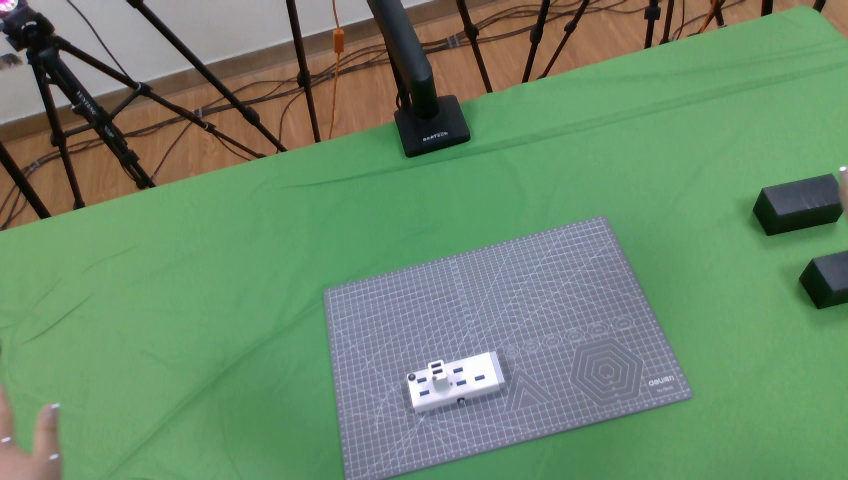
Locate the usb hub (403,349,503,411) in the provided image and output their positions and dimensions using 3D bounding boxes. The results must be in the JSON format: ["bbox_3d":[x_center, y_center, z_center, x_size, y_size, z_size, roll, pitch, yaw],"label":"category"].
[{"bbox_3d":[0.038,0.185,0.805,0.125,0.025,0.049,-15,55,0],"label":"usb hub"}]

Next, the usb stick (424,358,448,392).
[{"bbox_3d":[0.017,0.177,0.779,0.021,0.060,0.027,-18,53,-1],"label":"usb stick"}]
